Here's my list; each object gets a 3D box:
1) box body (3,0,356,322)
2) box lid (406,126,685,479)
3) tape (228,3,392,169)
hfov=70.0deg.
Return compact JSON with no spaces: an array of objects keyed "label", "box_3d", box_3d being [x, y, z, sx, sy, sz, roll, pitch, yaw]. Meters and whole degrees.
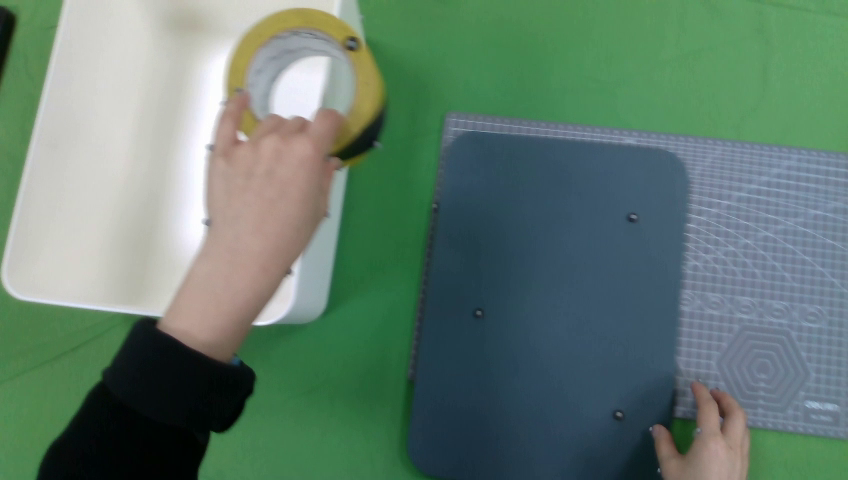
[{"label":"box body","box_3d":[-0.212,-0.106,0.605,0.254,0.161,0.363,5,81,3]},{"label":"box lid","box_3d":[0.130,0.064,0.636,0.263,0.015,0.370,7,82,4]},{"label":"tape","box_3d":[-0.083,-0.111,0.456,0.117,0.053,0.116,0,89,5]}]
